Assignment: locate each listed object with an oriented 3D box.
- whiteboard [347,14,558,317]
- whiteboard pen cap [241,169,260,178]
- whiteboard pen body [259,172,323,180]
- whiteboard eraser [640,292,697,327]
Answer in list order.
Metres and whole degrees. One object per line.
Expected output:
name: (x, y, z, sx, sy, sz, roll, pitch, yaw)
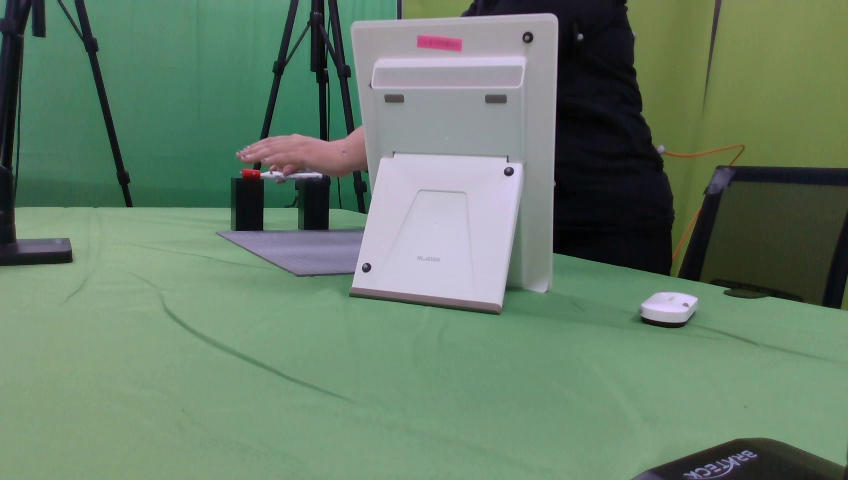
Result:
whiteboard: (0.012, -0.056, 0.609, 0.216, 0.305, 0.144, 5, 27, 20)
whiteboard pen cap: (-0.327, -0.125, 1.141, 0.032, 0.017, 0.017, 1, 7, -29)
whiteboard pen body: (-0.263, -0.125, 1.181, 0.141, 0.017, 0.017, -4, 9, -34)
whiteboard eraser: (0.240, 0.066, 0.590, 0.041, 0.019, 0.102, 7, 7, 31)
